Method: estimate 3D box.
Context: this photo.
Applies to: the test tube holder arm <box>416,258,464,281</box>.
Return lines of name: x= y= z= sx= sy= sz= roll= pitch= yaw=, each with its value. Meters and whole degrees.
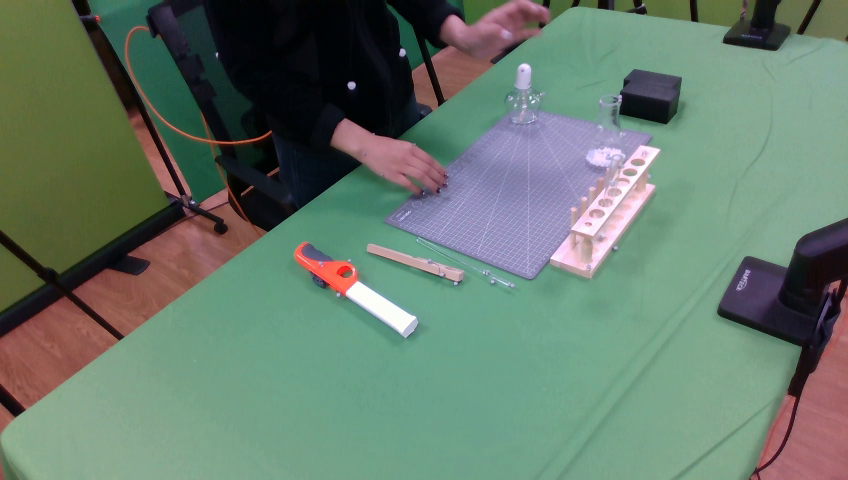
test tube holder arm: x=0.022 y=0.045 z=0.931 sx=0.087 sy=0.015 sz=0.010 roll=16 pitch=10 yaw=28

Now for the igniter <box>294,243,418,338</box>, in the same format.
igniter: x=-0.114 y=0.070 z=0.919 sx=0.274 sy=0.025 sz=0.057 roll=29 pitch=63 yaw=37

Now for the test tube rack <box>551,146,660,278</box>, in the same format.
test tube rack: x=0.286 y=-0.053 z=0.943 sx=0.066 sy=0.085 sz=0.243 roll=21 pitch=49 yaw=32

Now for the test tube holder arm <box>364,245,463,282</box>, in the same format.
test tube holder arm: x=-0.020 y=0.034 z=0.947 sx=0.177 sy=0.015 sz=0.013 roll=16 pitch=10 yaw=26

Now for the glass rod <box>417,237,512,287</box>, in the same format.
glass rod: x=0.059 y=0.032 z=0.945 sx=0.198 sy=0.008 sz=0.008 roll=26 pitch=52 yaw=38

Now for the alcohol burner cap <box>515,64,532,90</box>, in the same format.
alcohol burner cap: x=0.199 y=-0.324 z=1.198 sx=0.034 sy=0.048 sz=0.033 roll=0 pitch=46 yaw=1

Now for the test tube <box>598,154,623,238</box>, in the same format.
test tube: x=0.269 y=-0.059 z=0.876 sx=0.017 sy=0.151 sz=0.017 roll=-2 pitch=43 yaw=3

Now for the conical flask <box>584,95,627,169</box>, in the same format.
conical flask: x=0.323 y=-0.192 z=1.066 sx=0.075 sy=0.122 sz=0.075 roll=-6 pitch=40 yaw=5

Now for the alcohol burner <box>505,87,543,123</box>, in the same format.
alcohol burner: x=0.202 y=-0.298 z=1.221 sx=0.078 sy=0.119 sz=0.077 roll=-4 pitch=40 yaw=4
